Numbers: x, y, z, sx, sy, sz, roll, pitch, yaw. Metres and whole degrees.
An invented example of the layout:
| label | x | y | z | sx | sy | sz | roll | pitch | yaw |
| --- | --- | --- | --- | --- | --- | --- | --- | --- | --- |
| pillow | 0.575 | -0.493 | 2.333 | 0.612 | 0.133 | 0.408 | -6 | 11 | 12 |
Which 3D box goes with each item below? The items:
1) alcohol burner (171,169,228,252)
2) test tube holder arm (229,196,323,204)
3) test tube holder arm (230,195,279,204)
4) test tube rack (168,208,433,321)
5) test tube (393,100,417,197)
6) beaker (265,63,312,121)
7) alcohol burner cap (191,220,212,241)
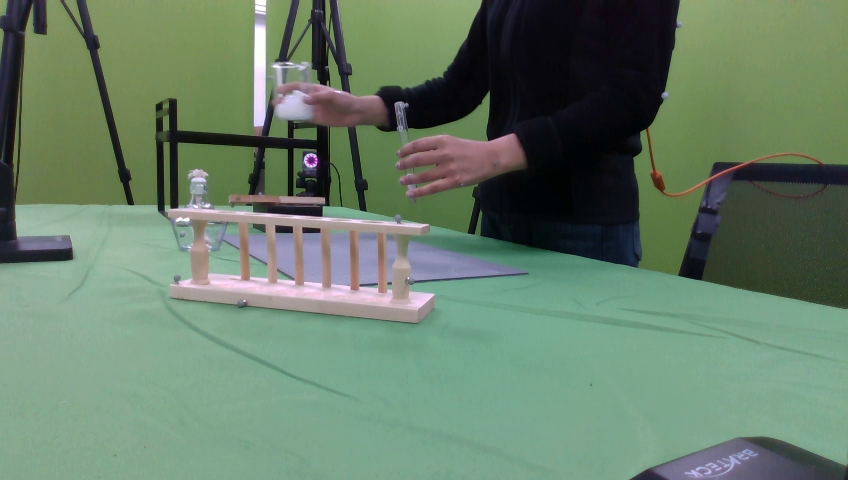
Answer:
| label | x | y | z | sx | sy | sz | roll | pitch | yaw |
| --- | --- | --- | --- | --- | --- | --- | --- | --- | --- |
| alcohol burner | -0.325 | -0.043 | 0.874 | 0.078 | 0.119 | 0.078 | 0 | 6 | 0 |
| test tube holder arm | -0.276 | -0.076 | 1.143 | 0.179 | 0.015 | 0.013 | -2 | 1 | -32 |
| test tube holder arm | -0.311 | -0.075 | 1.115 | 0.088 | 0.015 | 0.010 | -2 | 1 | -31 |
| test tube rack | -0.115 | 0.017 | 0.574 | 0.242 | 0.085 | 0.067 | 4 | 8 | 13 |
| test tube | -0.029 | -0.141 | 0.934 | 0.017 | 0.150 | 0.017 | -9 | 1 | 0 |
| beaker | -0.245 | -0.272 | 1.111 | 0.074 | 0.100 | 0.083 | -12 | 14 | -33 |
| alcohol burner cap | -0.364 | -0.023 | 0.988 | 0.034 | 0.048 | 0.034 | 2 | 8 | 0 |
